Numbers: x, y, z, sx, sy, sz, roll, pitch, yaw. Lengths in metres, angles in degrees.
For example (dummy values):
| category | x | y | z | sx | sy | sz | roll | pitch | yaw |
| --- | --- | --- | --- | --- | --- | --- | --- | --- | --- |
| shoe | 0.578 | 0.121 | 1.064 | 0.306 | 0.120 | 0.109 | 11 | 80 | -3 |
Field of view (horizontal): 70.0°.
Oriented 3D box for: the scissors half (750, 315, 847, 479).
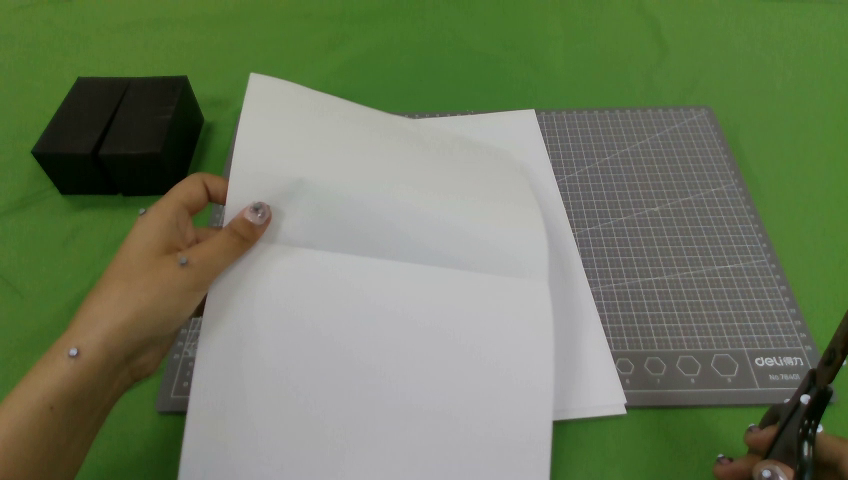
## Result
| category | x | y | z | sx | sy | sz | roll | pitch | yaw |
| --- | --- | --- | --- | --- | --- | --- | --- | --- | --- |
| scissors half | 0.195 | 0.073 | 0.294 | 0.013 | 0.175 | 0.040 | 20 | 14 | 14 |

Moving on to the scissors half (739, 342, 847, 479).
| category | x | y | z | sx | sy | sz | roll | pitch | yaw |
| --- | --- | --- | --- | --- | --- | --- | --- | --- | --- |
| scissors half | 0.203 | 0.068 | 0.312 | 0.012 | 0.176 | 0.040 | 23 | 31 | 19 |
